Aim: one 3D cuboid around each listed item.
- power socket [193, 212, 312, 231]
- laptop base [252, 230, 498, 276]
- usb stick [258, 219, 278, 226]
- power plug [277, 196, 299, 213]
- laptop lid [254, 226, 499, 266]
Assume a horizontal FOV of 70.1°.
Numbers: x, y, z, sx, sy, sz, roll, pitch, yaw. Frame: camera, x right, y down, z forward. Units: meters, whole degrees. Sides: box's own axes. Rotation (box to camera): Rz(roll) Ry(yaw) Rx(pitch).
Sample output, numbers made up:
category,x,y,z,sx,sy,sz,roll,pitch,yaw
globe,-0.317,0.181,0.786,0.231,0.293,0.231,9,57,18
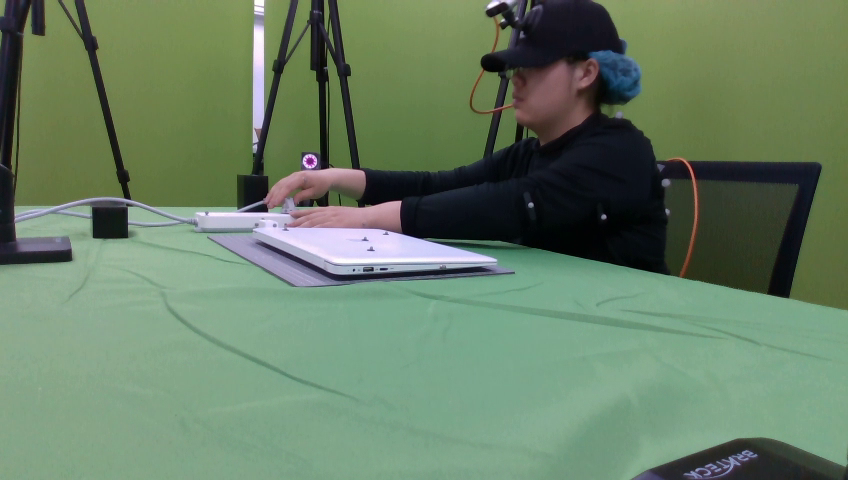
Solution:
category,x,y,z,sx,sy,sz,roll,pitch,yaw
power socket,-0.322,-0.037,1.152,0.228,0.032,0.072,-2,7,-33
laptop base,-0.089,0.016,0.876,0.237,0.023,0.352,2,6,-32
usb stick,-0.255,-0.019,0.996,0.021,0.027,0.059,-2,12,-29
power plug,-0.274,-0.062,1.217,0.035,0.052,0.072,0,5,-20
laptop lid,-0.086,0.004,0.876,0.243,0.013,0.355,1,7,-30
